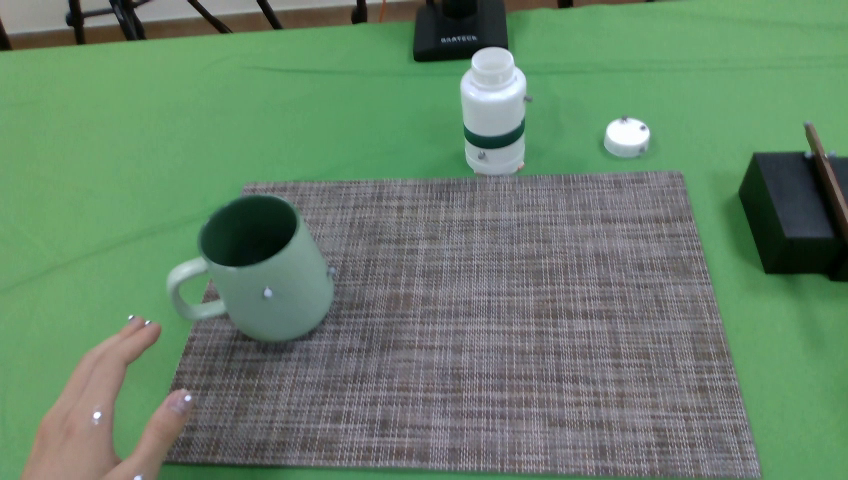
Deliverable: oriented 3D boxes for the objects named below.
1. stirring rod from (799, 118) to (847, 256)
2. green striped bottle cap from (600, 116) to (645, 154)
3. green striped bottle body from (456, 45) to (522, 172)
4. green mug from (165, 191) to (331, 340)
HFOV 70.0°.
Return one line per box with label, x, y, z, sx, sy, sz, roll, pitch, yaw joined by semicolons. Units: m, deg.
stirring rod;0.330;-0.039;0.491;0.006;0.014;0.174;-1;51;13
green striped bottle cap;0.206;-0.109;0.630;0.044;0.020;0.044;-3;47;3
green striped bottle body;0.065;-0.130;0.598;0.063;0.120;0.062;-4;50;5
green mug;-0.146;0.029;0.500;0.125;0.106;0.091;-22;52;-10
